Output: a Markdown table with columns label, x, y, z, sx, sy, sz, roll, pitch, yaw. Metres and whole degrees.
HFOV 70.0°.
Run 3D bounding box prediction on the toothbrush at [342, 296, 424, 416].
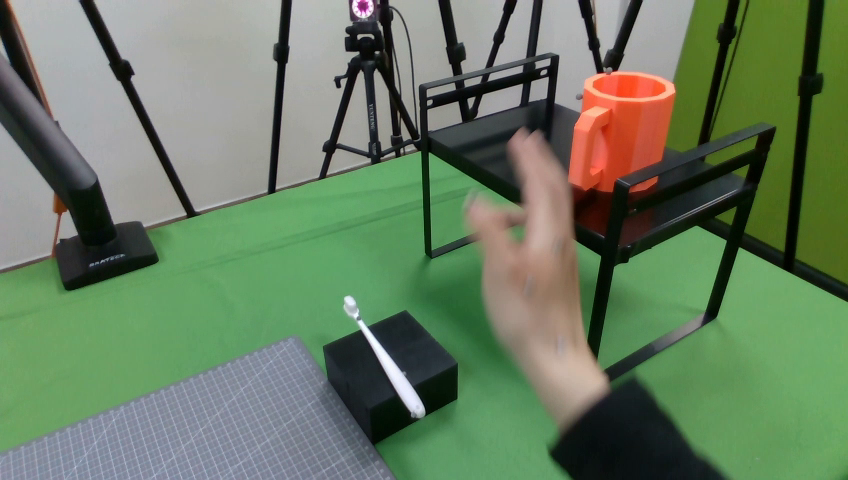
| label | x | y | z | sx | sy | sz | roll | pitch | yaw |
| --- | --- | --- | --- | --- | --- | --- | --- | --- | --- |
| toothbrush | -0.044 | 0.109 | 0.600 | 0.014 | 0.017 | 0.180 | -14 | 36 | -24 |

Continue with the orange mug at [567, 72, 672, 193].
| label | x | y | z | sx | sy | sz | roll | pitch | yaw |
| --- | --- | --- | --- | --- | --- | --- | --- | --- | --- |
| orange mug | 0.185 | -0.103 | 0.601 | 0.082 | 0.101 | 0.126 | 27 | 39 | 36 |
